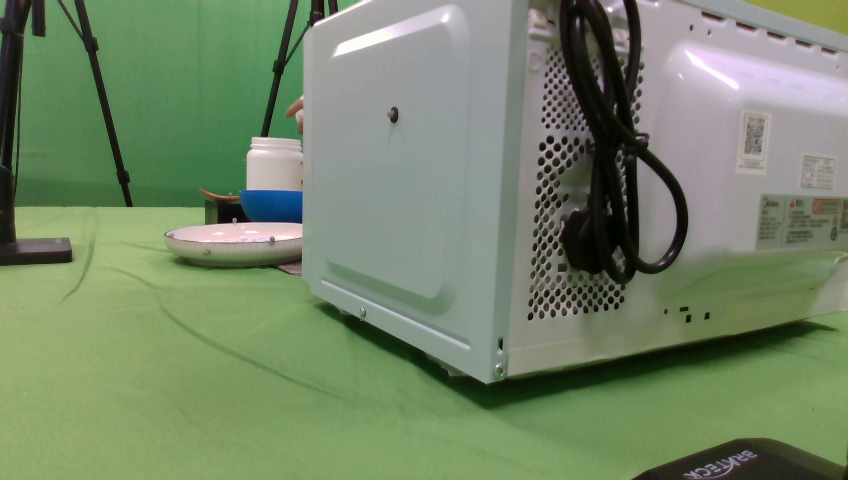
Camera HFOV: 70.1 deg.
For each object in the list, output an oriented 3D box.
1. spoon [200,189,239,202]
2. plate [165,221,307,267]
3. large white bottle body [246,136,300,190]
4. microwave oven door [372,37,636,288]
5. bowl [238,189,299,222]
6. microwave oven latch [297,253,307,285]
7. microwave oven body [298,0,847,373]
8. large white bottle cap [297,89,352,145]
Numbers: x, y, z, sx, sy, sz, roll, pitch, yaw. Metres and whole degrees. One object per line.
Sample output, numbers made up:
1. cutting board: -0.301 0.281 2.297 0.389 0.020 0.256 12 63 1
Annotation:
1. spoon: -0.339 -0.080 1.190 0.194 0.021 0.041 5 1 -19
2. plate: -0.241 0.004 0.829 0.209 0.038 0.209 0 9 0
3. large white bottle body: -0.344 -0.144 1.400 0.131 0.184 0.130 2 7 0
4. microwave oven door: 0.109 -0.080 0.686 0.358 0.243 0.039 -2 9 -33
5. bowl: -0.245 -0.045 1.053 0.151 0.077 0.151 2 8 0
6. microwave oven latch: -0.082 0.027 0.582 0.079 0.029 0.030 -1 7 -32
7. microwave oven body: 0.151 -0.055 0.542 0.444 0.260 0.324 -2 7 -33
8. large white bottle cap: -0.206 -0.256 1.255 0.115 0.114 0.018 -1 -6 -27
